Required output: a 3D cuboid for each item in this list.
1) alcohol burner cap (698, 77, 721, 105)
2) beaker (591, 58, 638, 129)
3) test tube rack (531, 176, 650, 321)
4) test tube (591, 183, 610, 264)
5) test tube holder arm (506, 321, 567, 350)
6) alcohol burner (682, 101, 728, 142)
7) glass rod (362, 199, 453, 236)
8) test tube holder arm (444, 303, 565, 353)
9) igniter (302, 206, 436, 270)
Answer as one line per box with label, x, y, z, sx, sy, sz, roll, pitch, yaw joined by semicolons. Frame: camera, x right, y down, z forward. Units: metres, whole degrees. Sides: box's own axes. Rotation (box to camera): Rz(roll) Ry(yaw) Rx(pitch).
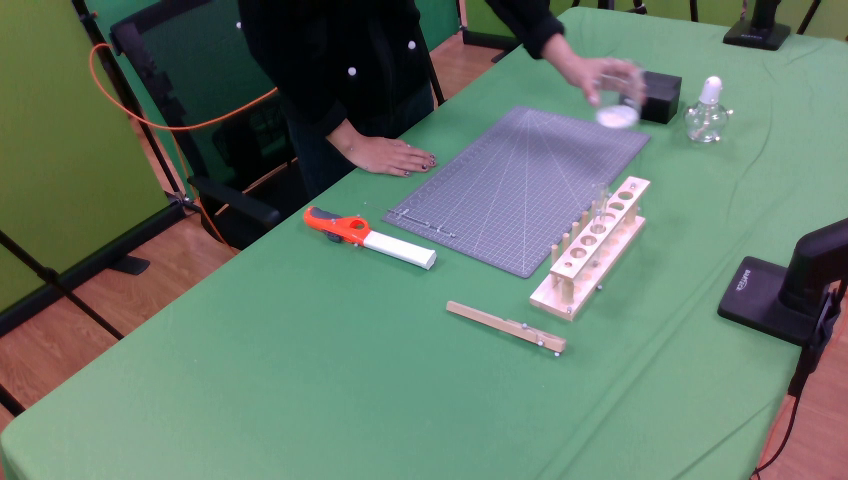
alcohol burner cap;0.509;-0.266;1.072;0.034;0.048;0.033;-4;48;5
beaker;0.325;-0.247;1.028;0.074;0.101;0.083;-9;37;3
test tube rack;0.246;0.002;0.884;0.066;0.085;0.243;22;49;32
test tube;0.242;-0.019;0.832;0.017;0.151;0.017;-5;46;6
test tube holder arm;0.148;0.128;0.808;0.087;0.015;0.010;16;10;28
alcohol burner;0.513;-0.239;1.097;0.078;0.119;0.077;-4;40;4
glass rod;-0.032;-0.041;1.041;0.198;0.008;0.008;22;50;31
test tube holder arm;0.106;0.117;0.823;0.177;0.015;0.013;16;10;27
igniter;-0.101;-0.007;1.004;0.274;0.025;0.057;20;58;29
